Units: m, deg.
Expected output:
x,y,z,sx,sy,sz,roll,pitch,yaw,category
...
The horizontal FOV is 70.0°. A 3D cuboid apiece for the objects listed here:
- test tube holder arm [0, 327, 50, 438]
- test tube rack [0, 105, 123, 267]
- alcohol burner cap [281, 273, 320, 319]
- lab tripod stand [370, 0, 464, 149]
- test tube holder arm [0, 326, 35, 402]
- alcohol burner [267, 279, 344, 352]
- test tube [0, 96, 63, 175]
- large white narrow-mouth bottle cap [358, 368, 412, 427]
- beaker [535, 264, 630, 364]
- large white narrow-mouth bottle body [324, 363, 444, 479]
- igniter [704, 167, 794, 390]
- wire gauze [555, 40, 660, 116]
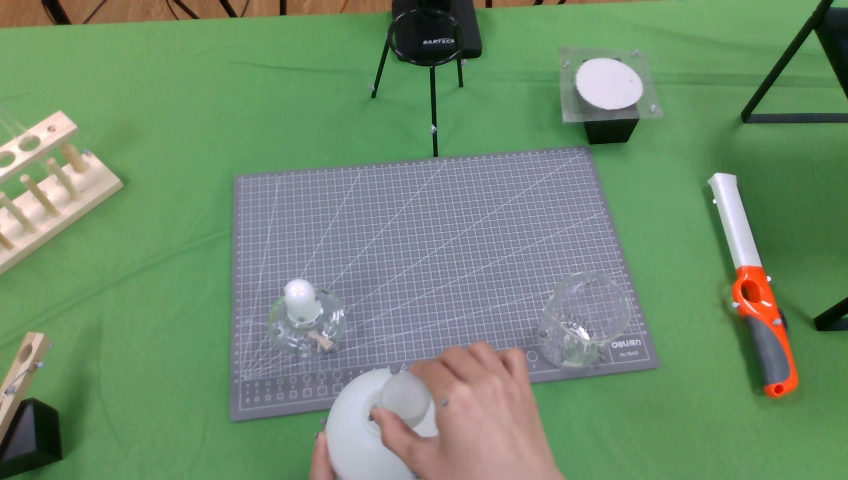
x,y,z,sx,sy,sz,roll,pitch,yaw,category
-0.381,0.163,0.541,0.013,0.015,0.177,6,63,6,test tube holder arm
-0.464,-0.034,0.654,0.066,0.086,0.242,39,67,17,test tube rack
-0.117,0.051,0.568,0.034,0.048,0.033,0,57,0,alcohol burner cap
0.001,-0.208,0.744,0.148,0.132,0.147,2,63,-4,lab tripod stand
-0.380,0.123,0.562,0.010,0.015,0.087,5,62,6,test tube holder arm
-0.119,0.068,0.601,0.078,0.120,0.077,2,60,-4,alcohol burner
-0.429,-0.116,0.644,0.017,0.151,0.017,0,60,1,test tube
-0.027,0.108,0.414,0.038,0.024,0.037,1,62,-2,large white narrow-mouth bottle cap
0.153,0.080,0.616,0.084,0.101,0.073,-4,62,-4,beaker
-0.034,0.160,0.514,0.102,0.196,0.101,1,62,-2,large white narrow-mouth bottle body
0.370,0.035,0.695,0.057,0.025,0.274,5,62,-12,igniter
0.230,-0.207,0.770,0.121,0.011,0.124,1,62,-2,wire gauze
